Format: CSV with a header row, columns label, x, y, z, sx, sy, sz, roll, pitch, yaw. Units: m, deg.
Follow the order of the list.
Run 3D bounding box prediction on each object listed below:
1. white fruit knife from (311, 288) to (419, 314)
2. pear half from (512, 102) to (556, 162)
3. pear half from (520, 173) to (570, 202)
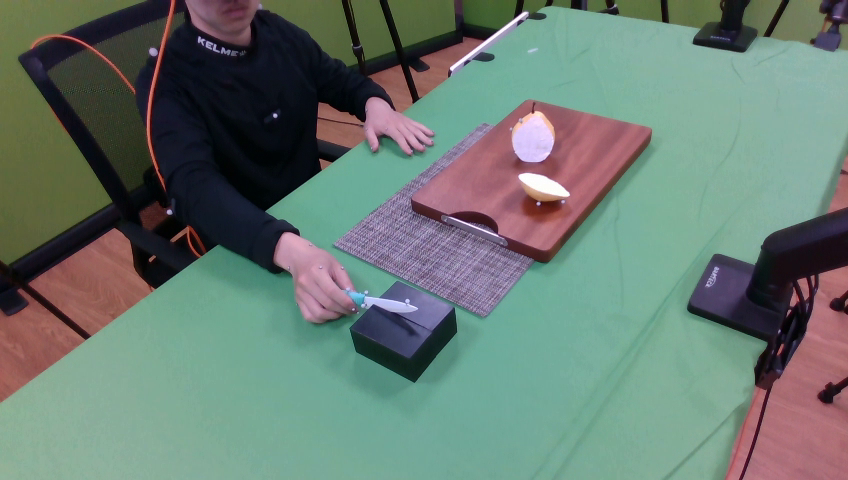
label,x,y,z,sx,sy,sz,roll,pitch,yaw
white fruit knife,-0.085,0.084,0.829,0.206,0.027,0.016,2,33,38
pear half,0.193,-0.197,1.060,0.076,0.110,0.056,3,41,6
pear half,0.193,-0.080,0.981,0.087,0.031,0.071,35,38,22
